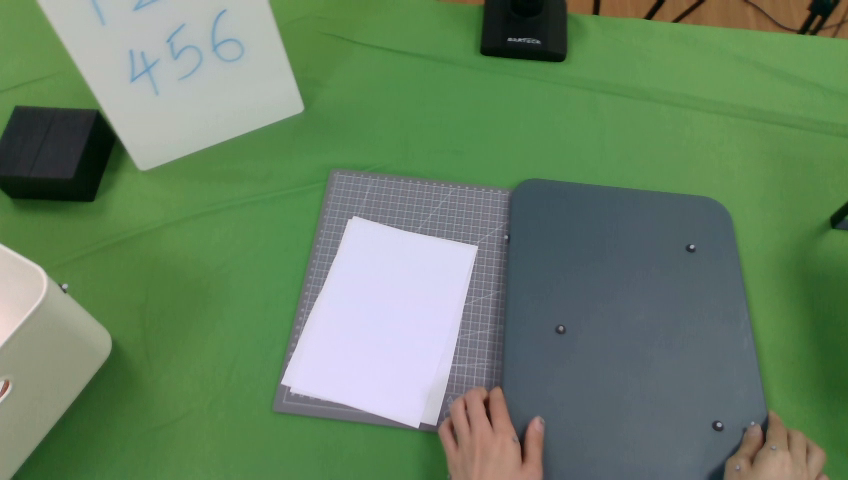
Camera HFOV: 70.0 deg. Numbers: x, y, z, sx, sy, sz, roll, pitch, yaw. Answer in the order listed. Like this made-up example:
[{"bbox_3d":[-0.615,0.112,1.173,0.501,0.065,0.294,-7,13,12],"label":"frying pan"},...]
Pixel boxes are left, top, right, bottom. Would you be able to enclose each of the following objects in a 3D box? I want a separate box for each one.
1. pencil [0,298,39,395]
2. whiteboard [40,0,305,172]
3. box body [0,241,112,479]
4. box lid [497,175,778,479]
[{"bbox_3d":[-0.419,0.148,0.607,0.012,0.012,0.192,4,62,1],"label":"pencil"},{"bbox_3d":[-0.300,-0.274,0.704,0.217,0.308,0.142,-24,46,-12],"label":"whiteboard"},{"bbox_3d":[-0.521,0.087,0.557,0.363,0.161,0.253,26,65,12],"label":"box body"},{"bbox_3d":[0.216,0.086,0.648,0.263,0.015,0.368,6,59,1],"label":"box lid"}]
